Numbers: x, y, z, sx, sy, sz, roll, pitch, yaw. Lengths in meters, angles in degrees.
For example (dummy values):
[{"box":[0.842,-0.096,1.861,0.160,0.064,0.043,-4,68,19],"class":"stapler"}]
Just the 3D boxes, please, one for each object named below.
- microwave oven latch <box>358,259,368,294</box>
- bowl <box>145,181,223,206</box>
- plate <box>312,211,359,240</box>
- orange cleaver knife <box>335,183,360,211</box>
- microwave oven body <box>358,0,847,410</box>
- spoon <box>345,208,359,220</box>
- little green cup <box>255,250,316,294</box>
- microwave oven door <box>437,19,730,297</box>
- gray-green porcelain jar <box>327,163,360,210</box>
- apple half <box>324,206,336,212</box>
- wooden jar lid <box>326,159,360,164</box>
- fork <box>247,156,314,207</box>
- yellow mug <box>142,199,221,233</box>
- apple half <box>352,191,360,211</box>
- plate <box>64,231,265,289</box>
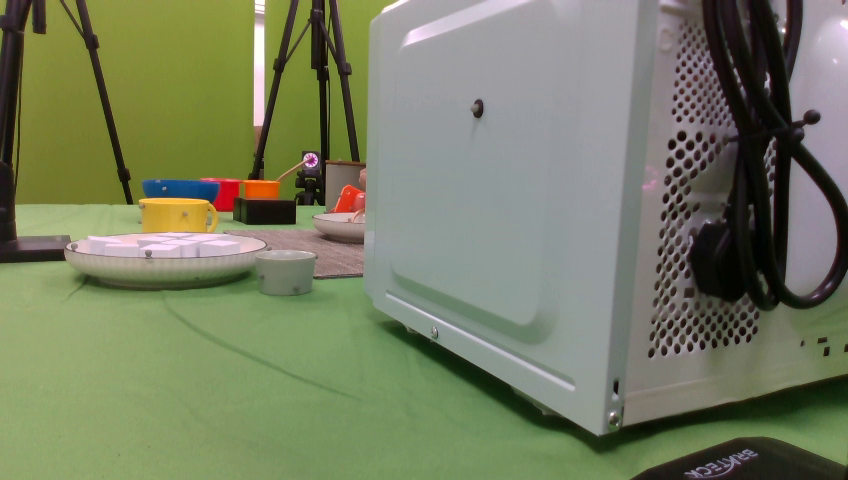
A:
[{"box":[-0.019,0.031,0.531,0.079,0.029,0.030,-2,7,-29],"class":"microwave oven latch"},{"box":[-0.499,-0.081,1.261,0.151,0.077,0.151,2,8,0],"class":"bowl"},{"box":[-0.091,-0.026,1.063,0.209,0.038,0.209,2,7,0],"class":"plate"},{"box":[-0.097,-0.073,1.301,0.212,0.077,0.012,5,3,-40],"class":"orange cleaver knife"},{"box":[0.210,-0.051,0.471,0.444,0.260,0.324,-1,7,-28],"class":"microwave oven body"},{"box":[-0.123,-0.047,1.116,0.041,0.021,0.194,-8,16,18],"class":"spoon"},{"box":[-0.144,0.032,0.627,0.061,0.038,0.061,3,6,0],"class":"little green cup"},{"box":[0.180,-0.076,0.618,0.358,0.243,0.039,-2,9,-28],"class":"microwave oven door"},{"box":[-0.187,-0.125,1.490,0.106,0.126,0.106,2,8,0],"class":"gray-green porcelain jar"},{"box":[-0.179,-0.059,1.313,0.081,0.033,0.081,-22,1,1],"class":"apple half"},{"box":[-0.185,-0.187,1.481,0.108,0.020,0.108,4,6,0],"class":"wooden jar lid"},{"box":[-0.360,-0.147,1.523,0.207,0.018,0.028,-43,15,-7],"class":"fork"},{"box":[-0.372,-0.030,0.948,0.099,0.064,0.131,6,7,30],"class":"yellow mug"},{"box":[-0.104,-0.065,1.259,0.081,0.074,0.053,2,11,-39],"class":"apple half"},{"box":[-0.288,0.021,0.687,0.208,0.039,0.207,2,8,0],"class":"plate"}]
